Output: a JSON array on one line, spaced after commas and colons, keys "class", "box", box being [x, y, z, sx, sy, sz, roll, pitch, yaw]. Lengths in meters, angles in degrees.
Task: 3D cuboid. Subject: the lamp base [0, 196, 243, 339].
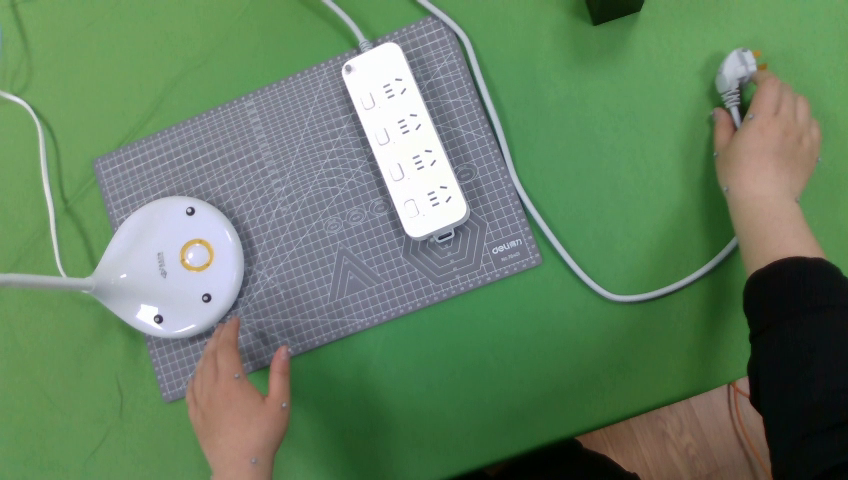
[{"class": "lamp base", "box": [-0.302, 0.029, 0.604, 0.179, 0.181, 0.160, -27, 81, 9]}]

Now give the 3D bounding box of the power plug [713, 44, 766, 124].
[{"class": "power plug", "box": [0.317, -0.158, 0.606, 0.053, 0.035, 0.073, -18, 104, -4]}]

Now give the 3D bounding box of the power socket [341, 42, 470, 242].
[{"class": "power socket", "box": [-0.020, -0.106, 0.646, 0.072, 0.033, 0.226, -23, 82, 5]}]
